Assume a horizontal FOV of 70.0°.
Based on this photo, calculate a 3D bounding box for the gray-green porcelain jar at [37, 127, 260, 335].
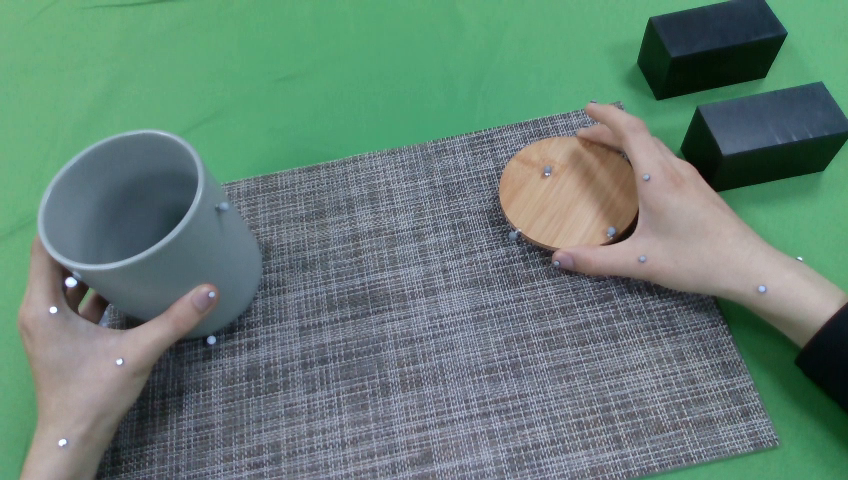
[{"bbox_3d":[-0.181,0.002,0.427,0.106,0.127,0.105,-2,60,5],"label":"gray-green porcelain jar"}]

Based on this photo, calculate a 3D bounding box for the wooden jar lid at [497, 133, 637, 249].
[{"bbox_3d":[0.112,-0.038,0.480,0.108,0.021,0.107,-2,61,5],"label":"wooden jar lid"}]
